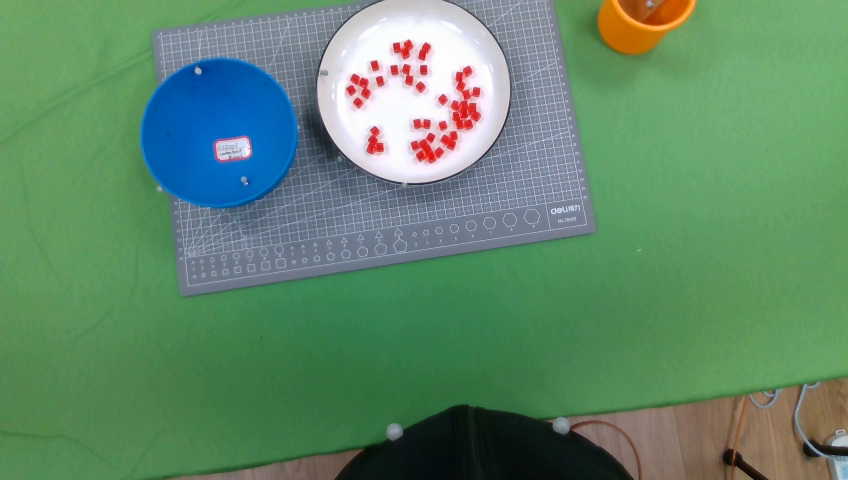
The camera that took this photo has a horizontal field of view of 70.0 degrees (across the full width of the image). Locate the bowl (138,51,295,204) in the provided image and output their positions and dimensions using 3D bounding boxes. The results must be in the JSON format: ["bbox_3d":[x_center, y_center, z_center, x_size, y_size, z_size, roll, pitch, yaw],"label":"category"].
[{"bbox_3d":[-0.201,-0.104,0.621,0.151,0.077,0.151,0,83,-2],"label":"bowl"}]

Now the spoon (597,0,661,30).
[{"bbox_3d":[0.270,-0.262,0.620,0.022,0.193,0.041,3,81,-46],"label":"spoon"}]

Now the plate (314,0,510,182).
[{"bbox_3d":[-0.012,-0.162,0.653,0.209,0.038,0.208,0,83,-1],"label":"plate"}]
